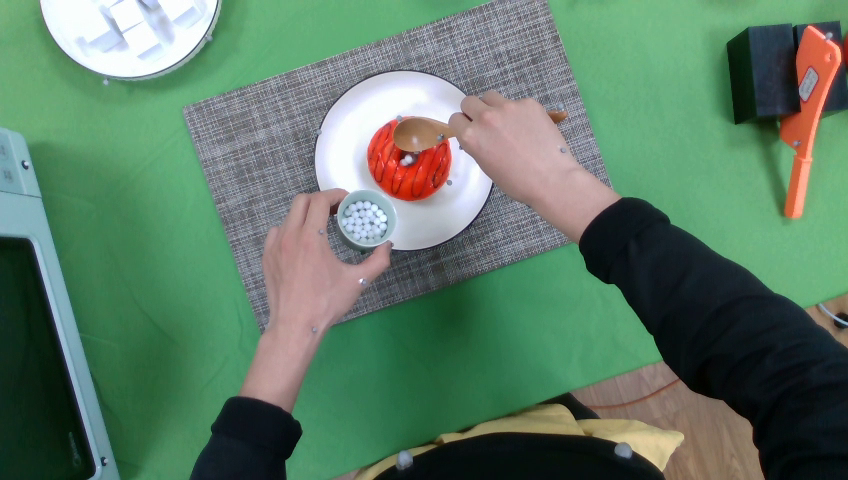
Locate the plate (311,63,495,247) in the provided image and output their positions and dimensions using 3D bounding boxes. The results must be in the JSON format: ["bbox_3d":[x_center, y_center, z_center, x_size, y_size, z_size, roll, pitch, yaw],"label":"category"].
[{"bbox_3d":[-0.024,-0.096,0.699,0.209,0.038,0.209,0,90,0],"label":"plate"}]

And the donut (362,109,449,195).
[{"bbox_3d":[-0.020,-0.099,0.688,0.099,0.048,0.099,0,92,1],"label":"donut"}]

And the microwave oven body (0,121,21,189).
[{"bbox_3d":[-0.560,0.116,0.583,0.326,0.260,0.441,-16,90,-1],"label":"microwave oven body"}]

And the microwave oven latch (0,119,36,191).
[{"bbox_3d":[-0.466,-0.093,0.681,0.030,0.029,0.079,-15,90,-1],"label":"microwave oven latch"}]

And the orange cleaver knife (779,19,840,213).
[{"bbox_3d":[0.423,-0.135,0.683,0.012,0.076,0.213,-4,119,2],"label":"orange cleaver knife"}]

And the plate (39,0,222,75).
[{"bbox_3d":[-0.334,-0.292,0.702,0.208,0.039,0.207,0,89,0],"label":"plate"}]

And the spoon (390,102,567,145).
[{"bbox_3d":[0.048,-0.117,0.604,0.192,0.021,0.042,2,130,34],"label":"spoon"}]

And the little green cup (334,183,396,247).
[{"bbox_3d":[-0.062,-0.023,0.616,0.062,0.039,0.061,5,72,-14],"label":"little green cup"}]

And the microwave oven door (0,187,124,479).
[{"bbox_3d":[-0.408,0.116,0.579,0.039,0.244,0.355,-17,89,0],"label":"microwave oven door"}]

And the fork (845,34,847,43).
[{"bbox_3d":[0.579,-0.229,0.653,0.206,0.019,0.028,10,87,42],"label":"fork"}]
